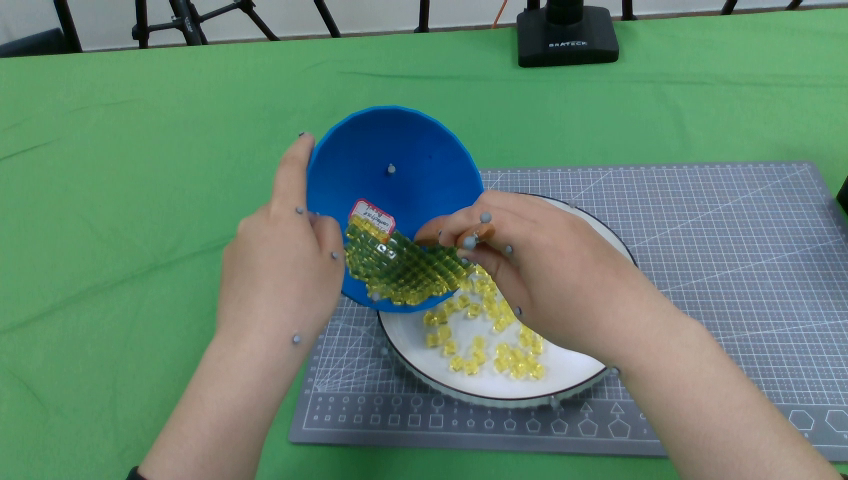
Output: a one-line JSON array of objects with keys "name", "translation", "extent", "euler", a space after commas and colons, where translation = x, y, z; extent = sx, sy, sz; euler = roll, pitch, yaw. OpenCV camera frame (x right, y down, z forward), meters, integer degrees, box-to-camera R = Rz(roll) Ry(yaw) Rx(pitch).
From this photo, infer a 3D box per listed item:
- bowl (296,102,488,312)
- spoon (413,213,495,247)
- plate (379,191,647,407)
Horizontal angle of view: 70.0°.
[{"name": "bowl", "translation": [-0.034, -0.021, 0.463], "extent": [0.151, 0.152, 0.076], "euler": [-40, 17, -27]}, {"name": "spoon", "translation": [0.021, -0.005, 0.384], "extent": [0.041, 0.022, 0.193], "euler": [-23, 6, -6]}, {"name": "plate", "translation": [0.068, 0.043, 0.487], "extent": [0.207, 0.039, 0.205], "euler": [-4, 47, 4]}]
